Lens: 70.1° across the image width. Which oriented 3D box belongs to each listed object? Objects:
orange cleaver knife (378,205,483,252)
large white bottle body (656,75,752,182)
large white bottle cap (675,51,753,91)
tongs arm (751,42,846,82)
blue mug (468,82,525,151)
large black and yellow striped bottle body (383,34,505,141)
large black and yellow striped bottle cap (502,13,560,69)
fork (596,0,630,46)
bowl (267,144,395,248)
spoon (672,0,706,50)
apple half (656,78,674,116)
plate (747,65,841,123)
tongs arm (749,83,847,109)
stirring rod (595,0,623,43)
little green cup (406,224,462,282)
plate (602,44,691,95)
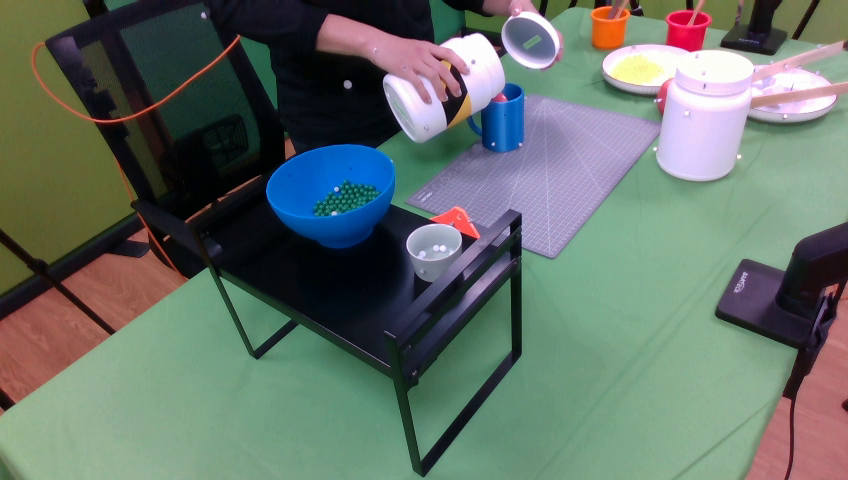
[{"bbox_3d":[0.005,-0.010,0.944,0.210,0.077,0.012,-4,23,47],"label":"orange cleaver knife"},{"bbox_3d":[0.472,-0.207,1.022,0.130,0.185,0.130,-4,41,4],"label":"large white bottle body"},{"bbox_3d":[0.463,-0.271,0.967,0.115,0.018,0.114,-4,40,4],"label":"large white bottle cap"},{"bbox_3d":[0.708,-0.331,1.193,0.386,0.026,0.050,-18,45,-16],"label":"tongs arm"},{"bbox_3d":[0.138,-0.241,1.169,0.116,0.106,0.082,11,44,21],"label":"blue mug"},{"bbox_3d":[0.037,-0.269,1.057,0.184,0.131,0.129,-30,44,-8],"label":"large black and yellow striped bottle body"},{"bbox_3d":[0.202,-0.375,1.141,0.114,0.116,0.019,21,62,29],"label":"large black and yellow striped bottle cap"},{"bbox_3d":[0.481,-0.556,1.452,0.028,0.019,0.207,40,103,40],"label":"fork"},{"bbox_3d":[-0.104,-0.043,0.726,0.151,0.077,0.150,-4,40,4],"label":"bowl"},{"bbox_3d":[0.629,-0.520,1.394,0.041,0.022,0.193,29,97,34],"label":"spoon"},{"bbox_3d":[0.488,-0.281,1.192,0.053,0.075,0.081,24,54,37],"label":"apple half"},{"bbox_3d":[0.694,-0.282,1.189,0.207,0.039,0.206,-4,40,4],"label":"plate"},{"bbox_3d":[0.734,-0.280,1.133,0.388,0.028,0.028,-9,47,-5],"label":"tongs arm"},{"bbox_3d":[0.460,-0.556,1.459,0.014,0.006,0.176,30,93,23],"label":"stirring rod"},{"bbox_3d":[0.013,0.015,0.668,0.061,0.039,0.061,-4,40,4],"label":"little green cup"},{"bbox_3d":[0.494,-0.367,1.317,0.209,0.038,0.208,-4,40,4],"label":"plate"}]
